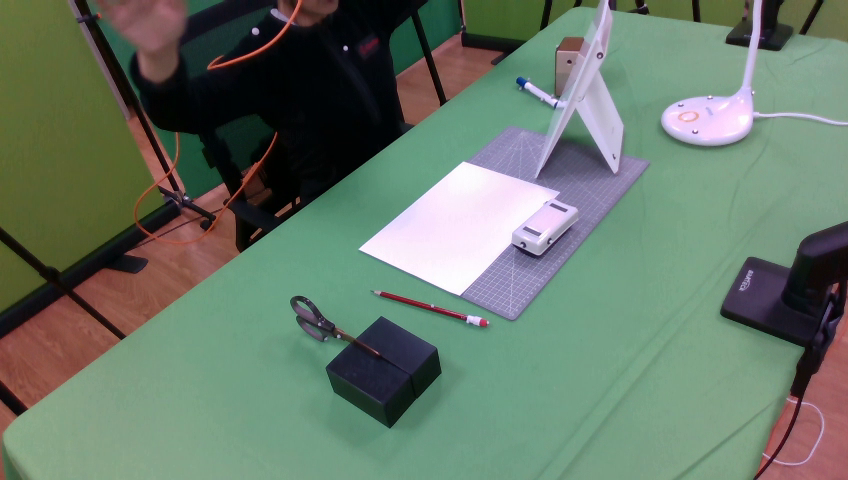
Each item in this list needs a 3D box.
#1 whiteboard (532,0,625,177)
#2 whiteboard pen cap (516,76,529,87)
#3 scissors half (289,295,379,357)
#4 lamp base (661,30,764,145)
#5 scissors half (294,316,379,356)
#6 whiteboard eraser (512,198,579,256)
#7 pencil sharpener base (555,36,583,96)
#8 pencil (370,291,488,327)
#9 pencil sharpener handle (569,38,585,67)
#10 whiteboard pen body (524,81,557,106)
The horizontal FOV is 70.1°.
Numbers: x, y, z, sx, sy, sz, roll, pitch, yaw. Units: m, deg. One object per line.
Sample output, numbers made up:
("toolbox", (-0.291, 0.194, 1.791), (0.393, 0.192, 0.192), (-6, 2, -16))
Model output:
("whiteboard", (0.320, -0.258, 1.050), (0.144, 0.306, 0.217), (21, 45, 5))
("whiteboard pen cap", (0.221, -0.354, 1.352), (0.018, 0.018, 0.033), (-24, 45, -17))
("scissors half", (-0.123, 0.114, 0.803), (0.174, 0.040, 0.013), (26, 48, 32))
("lamp base", (0.535, -0.287, 1.095), (0.179, 0.181, 0.159), (-10, 40, -4))
("scissors half", (-0.119, 0.132, 0.813), (0.174, 0.040, 0.013), (9, 32, 44))
("whiteboard eraser", (0.191, -0.019, 0.948), (0.055, 0.042, 0.113), (26, 51, 36))
("pencil sharpener base", (0.317, -0.371, 1.290), (0.061, 0.107, 0.076), (10, 44, 22))
("pencil", (0.003, 0.097, 0.877), (0.193, 0.012, 0.012), (13, 45, 26))
("pencil sharpener handle", (0.332, -0.413, 1.317), (0.036, 0.068, 0.030), (19, 46, 13))
("whiteboard pen body", (0.249, -0.321, 1.313), (0.017, 0.017, 0.139), (-24, 44, -17))
